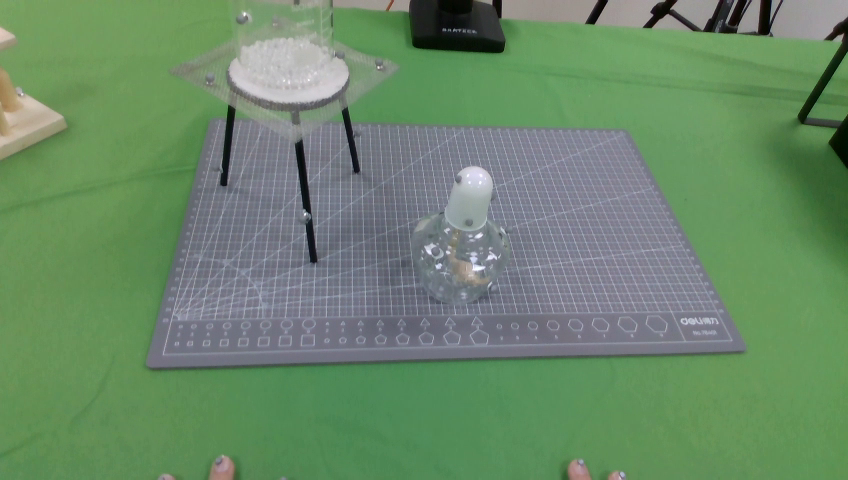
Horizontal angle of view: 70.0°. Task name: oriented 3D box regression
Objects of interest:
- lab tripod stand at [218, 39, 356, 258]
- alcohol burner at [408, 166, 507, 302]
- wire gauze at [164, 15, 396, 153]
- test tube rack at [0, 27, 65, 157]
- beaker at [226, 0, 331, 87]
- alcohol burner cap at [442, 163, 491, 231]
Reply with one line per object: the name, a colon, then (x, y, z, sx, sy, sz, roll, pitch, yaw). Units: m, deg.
lab tripod stand: (-0.107, -0.080, 0.495, 0.148, 0.132, 0.147, 5, 46, -5)
alcohol burner: (0.028, -0.009, 0.459, 0.078, 0.120, 0.077, 5, 44, -5)
wire gauze: (-0.103, -0.125, 0.448, 0.124, 0.011, 0.121, 32, 52, 16)
test tube rack: (-0.436, -0.087, 0.492, 0.066, 0.086, 0.242, 29, 49, 19)
beaker: (-0.102, -0.164, 0.416, 0.073, 0.101, 0.084, 36, 53, 23)
alcohol burner cap: (0.032, -0.033, 0.432, 0.034, 0.048, 0.033, 4, 50, -5)
